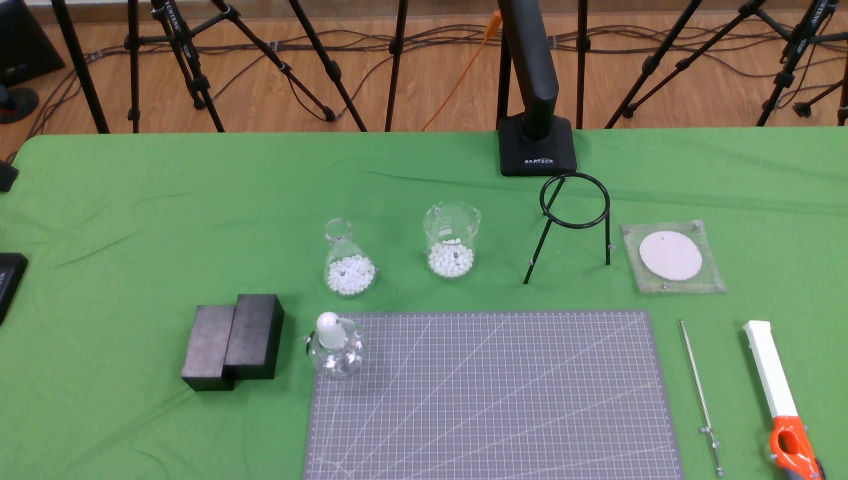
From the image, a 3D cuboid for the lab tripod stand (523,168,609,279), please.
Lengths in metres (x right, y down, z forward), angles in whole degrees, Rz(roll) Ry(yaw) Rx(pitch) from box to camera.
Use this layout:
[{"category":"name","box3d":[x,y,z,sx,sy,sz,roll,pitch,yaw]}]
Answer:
[{"category":"lab tripod stand","box3d":[0.193,-0.021,0.832,0.148,0.132,0.147,-1,59,1]}]

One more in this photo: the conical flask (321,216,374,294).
[{"category":"conical flask","box3d":[-0.111,0.016,0.824,0.075,0.123,0.074,-1,57,2]}]

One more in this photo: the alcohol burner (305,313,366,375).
[{"category":"alcohol burner","box3d":[-0.114,0.123,0.757,0.078,0.120,0.077,-2,58,3]}]

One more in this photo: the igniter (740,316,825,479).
[{"category":"igniter","box3d":[0.437,0.220,0.733,0.057,0.025,0.274,5,57,-8]}]

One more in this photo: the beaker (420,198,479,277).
[{"category":"beaker","box3d":[0.037,-0.002,0.845,0.084,0.101,0.073,-22,59,-13]}]

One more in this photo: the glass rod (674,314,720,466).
[{"category":"glass rod","box3d":[0.346,0.184,0.770,0.008,0.008,0.198,-2,58,0]}]

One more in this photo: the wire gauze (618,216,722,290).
[{"category":"wire gauze","box3d":[0.355,0.018,0.877,0.125,0.011,0.120,-1,58,-1]}]

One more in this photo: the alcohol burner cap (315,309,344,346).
[{"category":"alcohol burner cap","box3d":[-0.115,0.102,0.728,0.034,0.048,0.033,0,51,1]}]
